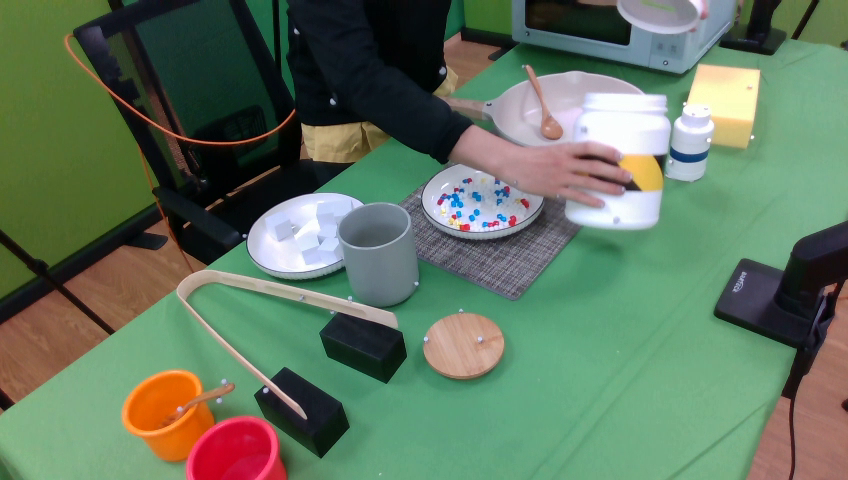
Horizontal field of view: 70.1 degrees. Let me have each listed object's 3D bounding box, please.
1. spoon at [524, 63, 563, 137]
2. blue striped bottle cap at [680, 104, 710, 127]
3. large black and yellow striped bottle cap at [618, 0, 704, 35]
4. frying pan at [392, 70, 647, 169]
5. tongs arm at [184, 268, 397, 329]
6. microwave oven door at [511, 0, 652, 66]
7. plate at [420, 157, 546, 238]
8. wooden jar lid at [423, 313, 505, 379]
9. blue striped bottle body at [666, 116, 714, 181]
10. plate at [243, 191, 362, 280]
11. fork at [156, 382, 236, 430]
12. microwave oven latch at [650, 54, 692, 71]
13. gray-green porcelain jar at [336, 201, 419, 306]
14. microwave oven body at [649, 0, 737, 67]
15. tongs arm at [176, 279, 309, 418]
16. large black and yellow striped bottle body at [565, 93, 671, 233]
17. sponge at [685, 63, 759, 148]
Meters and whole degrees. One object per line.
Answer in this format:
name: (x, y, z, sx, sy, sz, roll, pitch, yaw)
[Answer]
spoon: (0.234, -0.281, 1.203, 0.041, 0.022, 0.192, -14, 68, 0)
blue striped bottle cap: (0.443, -0.205, 0.989, 0.044, 0.021, 0.044, -1, 41, 2)
large black and yellow striped bottle cap: (0.331, -0.326, 0.846, 0.114, 0.116, 0.019, 20, 85, 28)
frying pan: (0.176, -0.248, 1.165, 0.487, 0.103, 0.306, 12, 43, 9)
tongs arm: (-0.202, 0.084, 0.848, 0.382, 0.027, 0.051, 11, 45, 35)
microwave oven door: (0.351, -0.540, 1.349, 0.353, 0.245, 0.039, 24, 50, 31)
plate: (0.099, -0.068, 1.017, 0.209, 0.038, 0.208, -4, 40, 4)
wooden jar lid: (0.053, 0.142, 0.800, 0.108, 0.021, 0.108, -5, 39, 4)
blue striped bottle body: (0.450, -0.166, 1.022, 0.063, 0.121, 0.063, -4, 41, 4)
plate: (-0.188, -0.005, 0.992, 0.207, 0.039, 0.206, -3, 41, 3)
fork: (-0.262, 0.189, 0.690, 0.018, 0.206, 0.028, 49, 43, -7)
microwave oven latch: (0.530, -0.386, 1.301, 0.078, 0.029, 0.030, 23, 50, 32)
gray-green porcelain jar: (-0.064, 0.024, 0.872, 0.106, 0.127, 0.105, -4, 41, 4)
microwave oven body: (0.475, -0.602, 1.411, 0.438, 0.261, 0.327, 23, 50, 32)
tongs arm: (-0.254, 0.132, 0.801, 0.028, 0.028, 0.384, -41, 40, -23)
large black and yellow striped bottle body: (0.275, -0.112, 0.859, 0.131, 0.184, 0.130, 2, 16, 0)
sponge: (0.569, -0.263, 1.164, 0.117, 0.061, 0.207, 12, 45, 22)
